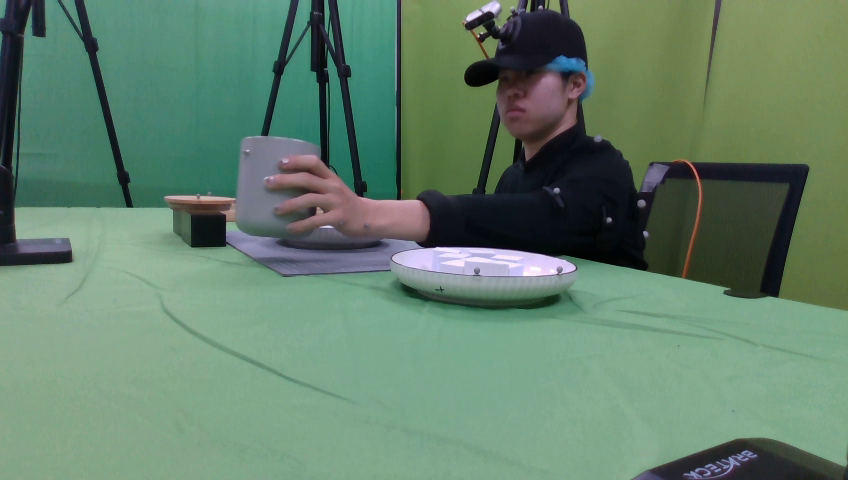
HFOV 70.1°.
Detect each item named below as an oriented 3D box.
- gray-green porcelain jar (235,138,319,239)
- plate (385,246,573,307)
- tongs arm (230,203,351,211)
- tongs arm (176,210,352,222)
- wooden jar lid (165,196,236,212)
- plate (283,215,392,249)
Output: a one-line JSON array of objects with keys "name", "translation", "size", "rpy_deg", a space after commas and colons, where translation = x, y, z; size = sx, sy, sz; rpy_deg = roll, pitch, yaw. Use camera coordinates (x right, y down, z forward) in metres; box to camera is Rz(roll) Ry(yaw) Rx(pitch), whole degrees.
[{"name": "gray-green porcelain jar", "translation": [-0.198, -0.066, 0.816], "size": [0.106, 0.126, 0.106], "rpy_deg": [3, -1, 0]}, {"name": "plate", "translation": [0.060, 0.041, 0.678], "size": [0.208, 0.039, 0.207], "rpy_deg": [3, 7, 0]}, {"name": "tongs arm", "translation": [-0.362, -0.068, 1.406], "size": [0.386, 0.026, 0.050], "rpy_deg": [2, 8, -14]}, {"name": "tongs arm", "translation": [-0.337, -0.053, 1.329], "size": [0.389, 0.028, 0.028], "rpy_deg": [-1, 6, -27]}, {"name": "wooden jar lid", "translation": [-0.369, -0.060, 1.001], "size": [0.108, 0.020, 0.108], "rpy_deg": [3, 6, 0]}, {"name": "plate", "translation": [-0.159, -0.015, 1.019], "size": [0.209, 0.038, 0.209], "rpy_deg": [3, 7, 0]}]
